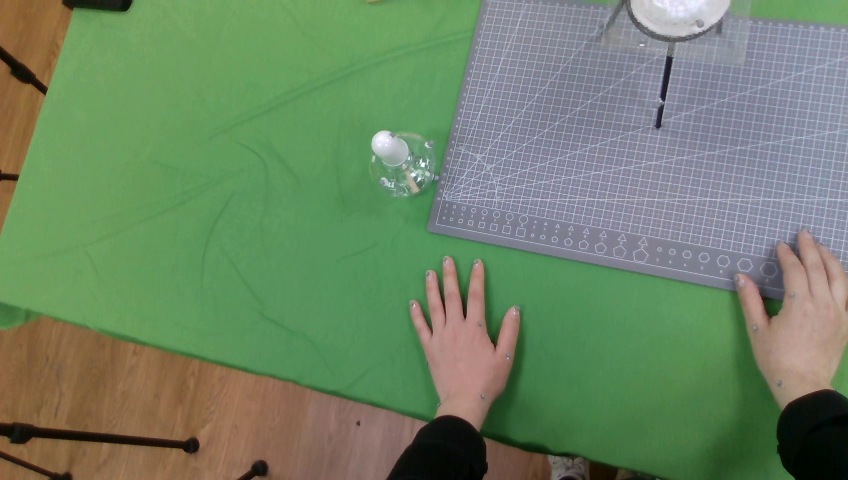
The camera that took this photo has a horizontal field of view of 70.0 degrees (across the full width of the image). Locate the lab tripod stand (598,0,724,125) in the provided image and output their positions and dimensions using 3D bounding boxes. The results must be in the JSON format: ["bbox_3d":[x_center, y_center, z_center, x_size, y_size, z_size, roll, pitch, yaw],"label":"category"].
[{"bbox_3d":[0.242,-0.208,0.609,0.148,0.132,0.148,-2,80,12],"label":"lab tripod stand"}]

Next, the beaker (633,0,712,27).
[{"bbox_3d":[0.210,-0.232,0.502,0.083,0.101,0.074,25,87,17],"label":"beaker"}]

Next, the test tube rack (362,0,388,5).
[{"bbox_3d":[0.028,-0.354,0.718,0.242,0.086,0.066,-6,78,13],"label":"test tube rack"}]

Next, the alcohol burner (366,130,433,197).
[{"bbox_3d":[-0.031,-0.090,0.668,0.078,0.120,0.077,-3,77,12],"label":"alcohol burner"}]

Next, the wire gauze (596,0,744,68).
[{"bbox_3d":[0.226,-0.221,0.546,0.124,0.011,0.121,11,86,13],"label":"wire gauze"}]

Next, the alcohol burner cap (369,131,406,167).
[{"bbox_3d":[-0.041,-0.098,0.634,0.034,0.048,0.033,-2,82,14],"label":"alcohol burner cap"}]
